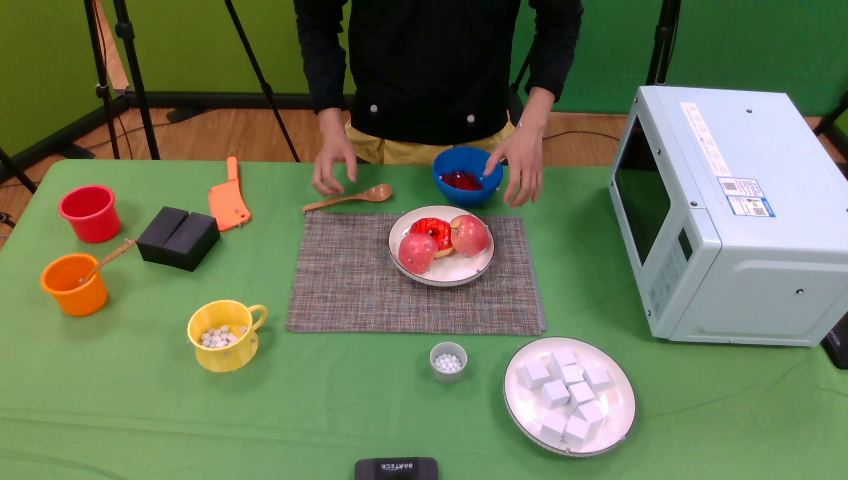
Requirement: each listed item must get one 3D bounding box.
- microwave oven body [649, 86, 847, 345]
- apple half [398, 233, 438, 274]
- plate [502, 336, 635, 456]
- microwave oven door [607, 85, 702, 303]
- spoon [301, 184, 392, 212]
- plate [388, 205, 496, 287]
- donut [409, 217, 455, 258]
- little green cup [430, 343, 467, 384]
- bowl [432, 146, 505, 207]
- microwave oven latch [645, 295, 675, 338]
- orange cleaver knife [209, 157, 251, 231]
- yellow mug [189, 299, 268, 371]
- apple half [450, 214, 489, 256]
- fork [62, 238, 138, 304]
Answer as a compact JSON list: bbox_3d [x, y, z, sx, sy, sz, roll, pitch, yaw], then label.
[{"bbox_3d":[0.568,-0.053,1.118,0.326,0.261,0.439,2,45,-1],"label":"microwave oven body"},{"bbox_3d":[-0.016,0.022,1.123,0.081,0.033,0.081,-2,83,14],"label":"apple half"},{"bbox_3d":[0.225,0.248,0.964,0.208,0.039,0.206,2,46,-2],"label":"plate"},{"bbox_3d":[0.423,-0.094,1.141,0.039,0.245,0.353,2,46,-1],"label":"microwave oven door"},{"bbox_3d":[-0.162,-0.087,1.270,0.194,0.022,0.041,-11,62,-15],"label":"spoon"},{"bbox_3d":[0.033,0.014,1.171,0.209,0.038,0.208,2,46,-2],"label":"plate"},{"bbox_3d":[0.019,-0.006,1.174,0.099,0.048,0.098,2,44,-2],"label":"donut"},{"bbox_3d":[0.039,0.203,0.994,0.061,0.039,0.061,2,46,-2],"label":"little green cup"},{"bbox_3d":[0.091,-0.124,1.286,0.151,0.077,0.150,2,46,-2],"label":"bowl"},{"bbox_3d":[0.412,0.134,1.061,0.030,0.029,0.078,3,45,0],"label":"microwave oven latch"},{"bbox_3d":[-0.409,-0.099,1.266,0.077,0.012,0.210,-14,50,-10],"label":"orange cleaver knife"},{"bbox_3d":[-0.316,0.148,1.002,0.131,0.064,0.099,-33,56,-31],"label":"yellow mug"},{"bbox_3d":[0.092,-0.014,1.158,0.075,0.053,0.080,35,39,-28],"label":"apple half"},{"bbox_3d":[-0.547,0.053,1.018,0.207,0.019,0.028,-36,41,23],"label":"fork"}]
